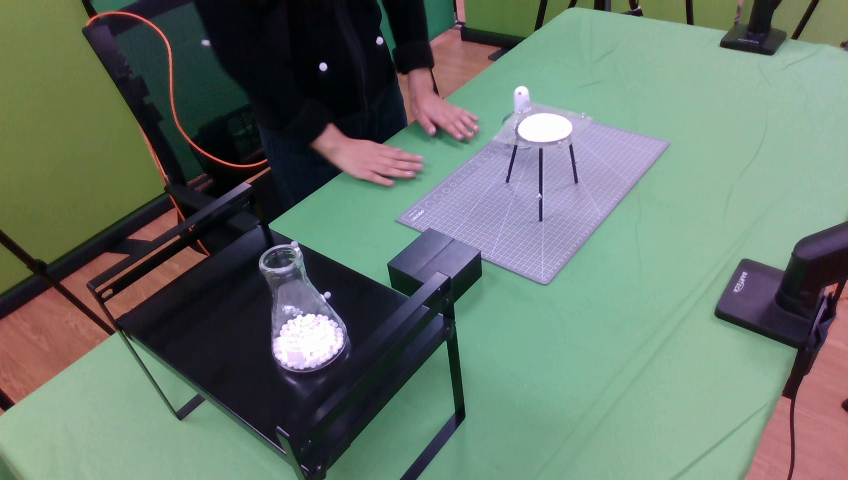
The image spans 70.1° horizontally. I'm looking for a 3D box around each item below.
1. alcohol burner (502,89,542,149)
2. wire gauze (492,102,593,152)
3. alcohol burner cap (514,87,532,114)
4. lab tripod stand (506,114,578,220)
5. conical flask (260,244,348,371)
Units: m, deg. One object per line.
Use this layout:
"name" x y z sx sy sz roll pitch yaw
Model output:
"alcohol burner" 0.186 -0.235 1.149 0.078 0.119 0.077 -5 42 5
"wire gauze" 0.190 -0.180 0.964 0.120 0.011 0.125 19 48 27
"alcohol burner cap" 0.183 -0.262 1.125 0.034 0.048 0.033 -8 40 7
"lab tripod stand" 0.198 -0.128 1.005 0.148 0.132 0.147 -3 42 3
"conical flask" -0.118 0.060 0.565 0.075 0.122 0.075 -5 41 4
